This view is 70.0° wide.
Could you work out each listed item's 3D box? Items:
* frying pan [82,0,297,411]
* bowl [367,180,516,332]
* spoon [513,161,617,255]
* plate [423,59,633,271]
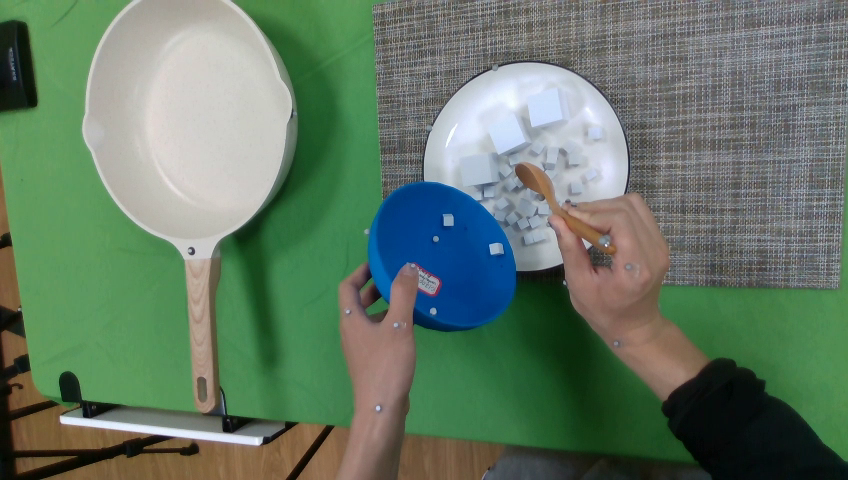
[{"bbox_3d":[-0.271,-0.040,0.726,0.305,0.103,0.487,-2,89,22],"label":"frying pan"},{"bbox_3d":[0.005,0.026,0.579,0.151,0.151,0.077,54,139,7],"label":"bowl"},{"bbox_3d":[0.111,-0.027,0.498,0.021,0.192,0.042,-35,115,8],"label":"spoon"},{"bbox_3d":[0.102,-0.073,0.611,0.207,0.039,0.208,3,99,21],"label":"plate"}]
